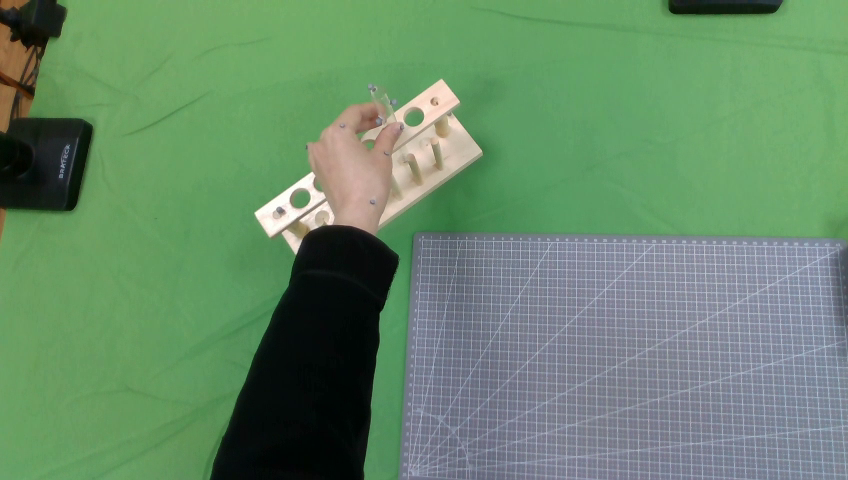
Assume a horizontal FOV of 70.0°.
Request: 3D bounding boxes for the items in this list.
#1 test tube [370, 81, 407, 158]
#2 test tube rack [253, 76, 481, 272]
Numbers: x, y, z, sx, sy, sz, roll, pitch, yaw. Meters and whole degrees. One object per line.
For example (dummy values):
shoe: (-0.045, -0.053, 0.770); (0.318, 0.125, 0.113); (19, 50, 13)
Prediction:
test tube: (-0.034, -0.119, 0.622); (0.017, 0.151, 0.017); (-1, 75, 6)
test tube rack: (-0.057, -0.067, 0.665); (0.242, 0.085, 0.066); (-35, 74, -1)
